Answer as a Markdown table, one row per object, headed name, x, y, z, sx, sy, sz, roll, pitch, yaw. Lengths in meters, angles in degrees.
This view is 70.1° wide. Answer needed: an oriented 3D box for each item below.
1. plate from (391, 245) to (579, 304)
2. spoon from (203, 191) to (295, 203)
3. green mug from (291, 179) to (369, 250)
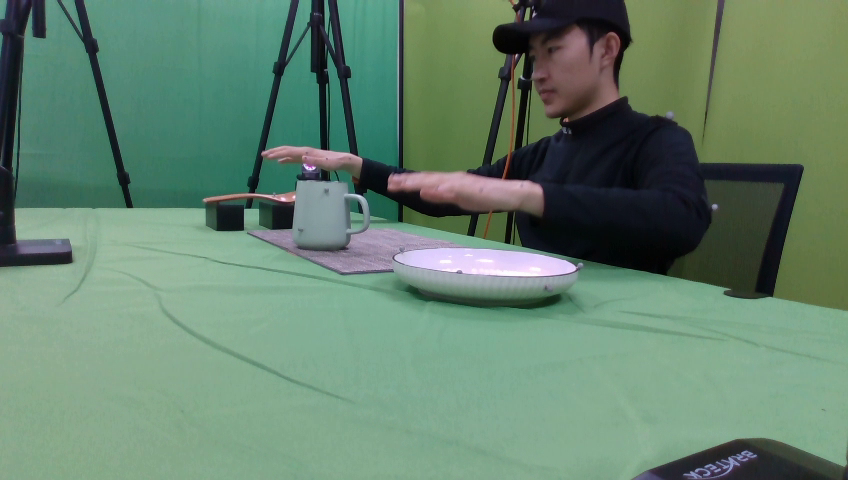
| name | x | y | z | sx | sy | sz | roll | pitch | yaw |
| --- | --- | --- | --- | --- | --- | --- | --- | --- | --- |
| plate | 0.066 | 0.038 | 0.683 | 0.209 | 0.038 | 0.209 | 2 | 7 | 0 |
| spoon | -0.339 | -0.086 | 1.208 | 0.195 | 0.021 | 0.041 | -2 | 29 | -30 |
| green mug | -0.144 | -0.040 | 0.944 | 0.125 | 0.105 | 0.093 | 4 | 7 | 16 |
